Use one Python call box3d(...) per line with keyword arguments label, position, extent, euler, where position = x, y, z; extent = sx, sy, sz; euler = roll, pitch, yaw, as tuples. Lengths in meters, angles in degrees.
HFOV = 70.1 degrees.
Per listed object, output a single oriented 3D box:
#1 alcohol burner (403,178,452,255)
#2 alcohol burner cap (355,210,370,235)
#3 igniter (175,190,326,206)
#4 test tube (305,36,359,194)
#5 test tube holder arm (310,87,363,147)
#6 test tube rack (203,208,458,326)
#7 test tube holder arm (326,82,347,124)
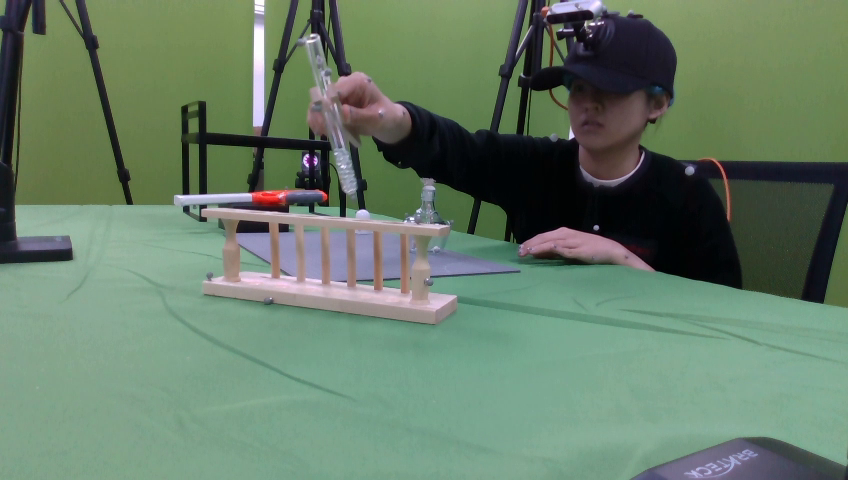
box3d(label="alcohol burner", position=(0.005, -0.036, 0.923), extent=(0.078, 0.119, 0.078), euler=(5, 7, 0))
box3d(label="alcohol burner cap", position=(-0.116, -0.033, 1.136), extent=(0.034, 0.048, 0.034), euler=(2, 7, 0))
box3d(label="igniter", position=(-0.315, -0.079, 1.128), extent=(0.278, 0.025, 0.057), euler=(-5, 13, -34))
box3d(label="test tube", position=(-0.085, -0.116, 0.562), extent=(0.017, 0.150, 0.017), euler=(-14, 1, 0))
box3d(label="test tube holder arm", position=(-0.087, -0.124, 0.630), extent=(0.013, 0.015, 0.178), euler=(-16, -6, 4))
box3d(label="test tube rack", position=(-0.090, 0.019, 0.579), extent=(0.241, 0.085, 0.067), euler=(5, 7, 19))
box3d(label="test tube holder arm", position=(-0.084, -0.130, 0.586), extent=(0.010, 0.015, 0.088), euler=(-16, -6, -4))
